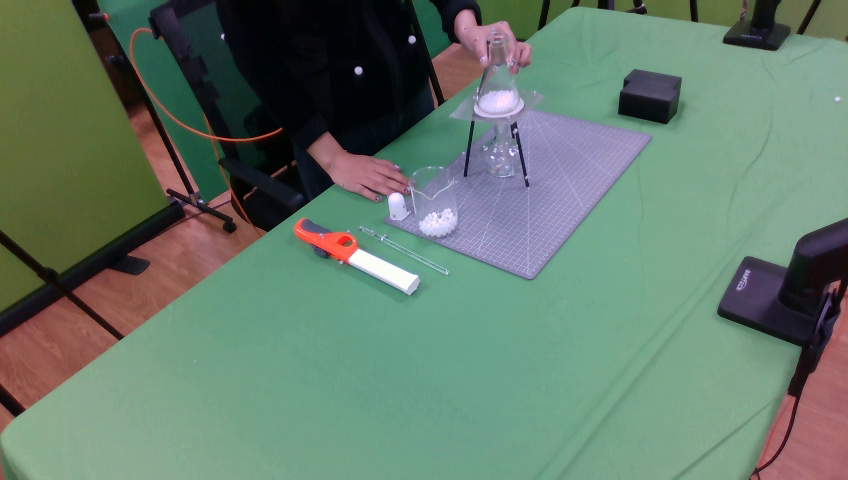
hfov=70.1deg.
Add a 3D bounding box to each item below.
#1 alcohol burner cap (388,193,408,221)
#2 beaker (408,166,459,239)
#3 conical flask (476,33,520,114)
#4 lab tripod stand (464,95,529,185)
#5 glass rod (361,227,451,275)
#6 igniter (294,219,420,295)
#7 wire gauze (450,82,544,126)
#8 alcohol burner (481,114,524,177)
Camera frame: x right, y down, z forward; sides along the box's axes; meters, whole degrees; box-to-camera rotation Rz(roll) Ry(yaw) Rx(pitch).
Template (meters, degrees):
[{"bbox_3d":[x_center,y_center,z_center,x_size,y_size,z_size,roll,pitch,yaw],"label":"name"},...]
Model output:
[{"bbox_3d":[-0.047,-0.059,1.043,0.034,0.048,0.033,-5,39,5],"label":"alcohol burner cap"},{"bbox_3d":[0.018,-0.057,0.984,0.074,0.101,0.083,-6,41,5],"label":"beaker"},{"bbox_3d":[0.122,-0.276,0.997,0.075,0.122,0.075,-4,43,4],"label":"conical flask"},{"bbox_3d":[0.138,-0.182,1.082,0.148,0.132,0.147,-6,38,6],"label":"lab tripod stand"},{"bbox_3d":[-0.033,0.015,0.985,0.198,0.008,0.008,26,52,34],"label":"glass rod"},{"bbox_3d":[-0.118,0.022,0.977,0.274,0.025,0.057,24,60,34],"label":"igniter"},{"bbox_3d":[0.126,-0.233,1.040,0.120,0.011,0.125,19,48,29],"label":"wire gauze"},{"bbox_3d":[0.141,-0.174,1.087,0.078,0.119,0.077,-4,40,4],"label":"alcohol burner"}]
